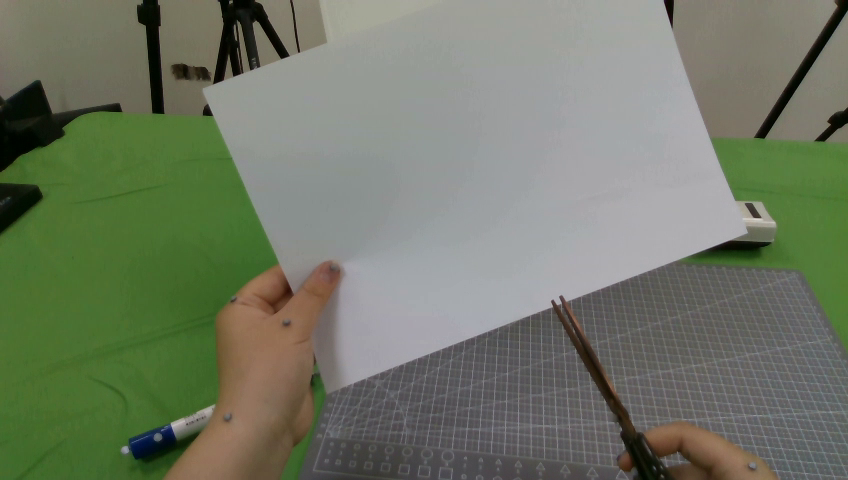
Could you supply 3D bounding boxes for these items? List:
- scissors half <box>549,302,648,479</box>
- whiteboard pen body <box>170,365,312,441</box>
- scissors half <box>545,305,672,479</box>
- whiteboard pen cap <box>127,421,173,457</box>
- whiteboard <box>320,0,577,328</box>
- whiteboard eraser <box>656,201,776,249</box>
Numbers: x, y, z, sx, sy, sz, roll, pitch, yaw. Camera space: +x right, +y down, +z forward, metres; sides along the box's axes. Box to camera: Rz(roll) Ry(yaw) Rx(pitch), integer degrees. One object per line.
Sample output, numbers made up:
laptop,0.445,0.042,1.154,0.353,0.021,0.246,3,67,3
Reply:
scissors half,0.116,0.112,0.355,0.013,0.175,0.040,-30,4,-5
whiteboard pen body,-0.158,0.134,0.489,0.141,0.017,0.017,-20,40,-27
scissors half,0.114,0.107,0.333,0.013,0.040,0.173,-31,64,0
whiteboard pen cap,-0.207,0.151,0.464,0.033,0.018,0.018,-20,40,-26
whiteboard,0.017,-0.100,0.621,0.218,0.307,0.142,-13,18,-16
whiteboard eraser,0.321,-0.016,0.671,0.112,0.042,0.055,2,38,3
